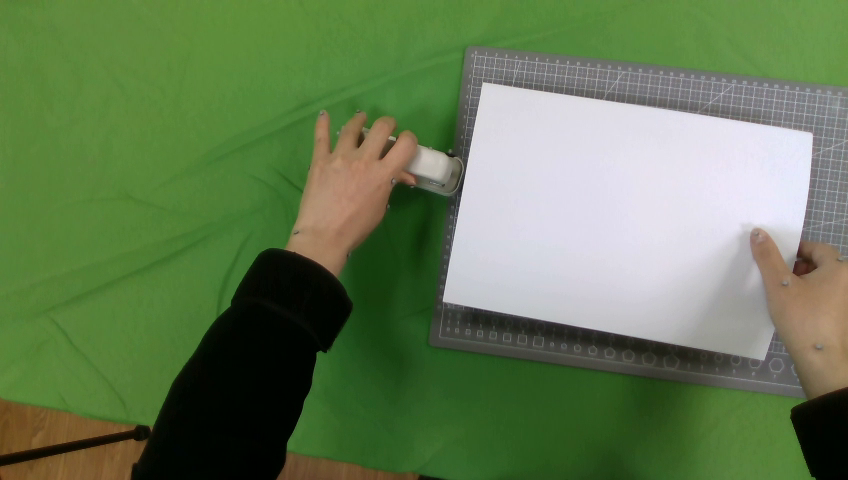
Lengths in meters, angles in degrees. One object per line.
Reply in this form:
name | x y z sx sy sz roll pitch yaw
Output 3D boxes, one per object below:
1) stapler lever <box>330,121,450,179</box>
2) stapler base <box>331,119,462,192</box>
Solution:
stapler lever | -0.034 -0.085 0.565 0.118 0.040 0.027 18 87 8
stapler base | -0.029 -0.084 0.590 0.130 0.024 0.041 18 88 8
